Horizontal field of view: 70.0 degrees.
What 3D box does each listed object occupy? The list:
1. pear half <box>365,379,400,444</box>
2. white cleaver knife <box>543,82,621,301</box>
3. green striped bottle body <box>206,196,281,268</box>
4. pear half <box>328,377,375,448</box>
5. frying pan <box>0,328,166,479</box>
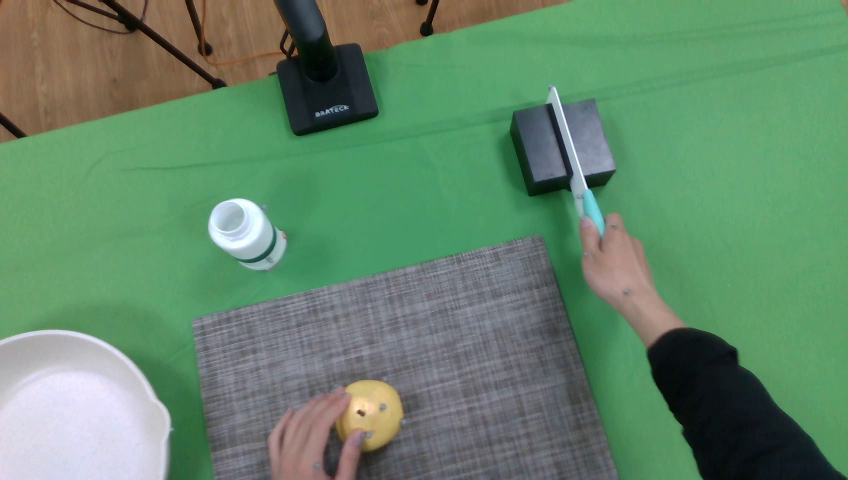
[{"bbox_3d":[-0.044,0.188,0.673,0.031,0.088,0.070,-9,69,-1],"label":"pear half"},{"bbox_3d":[0.189,-0.063,0.738,0.021,0.066,0.284,-12,72,2],"label":"white cleaver knife"},{"bbox_3d":[-0.215,-0.011,0.720,0.063,0.120,0.063,0,73,1],"label":"green striped bottle body"},{"bbox_3d":[-0.080,0.188,0.662,0.056,0.110,0.076,-11,69,1],"label":"pear half"},{"bbox_3d":[-0.392,0.335,0.632,0.307,0.103,0.483,-18,66,-4],"label":"frying pan"}]
